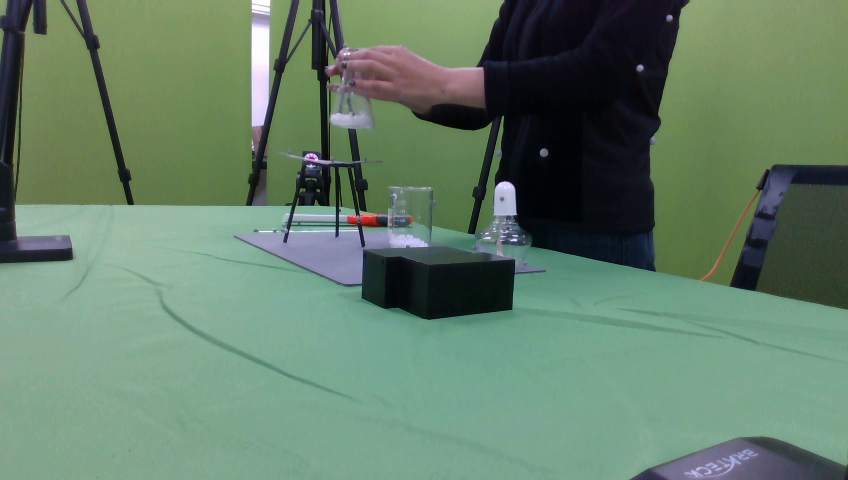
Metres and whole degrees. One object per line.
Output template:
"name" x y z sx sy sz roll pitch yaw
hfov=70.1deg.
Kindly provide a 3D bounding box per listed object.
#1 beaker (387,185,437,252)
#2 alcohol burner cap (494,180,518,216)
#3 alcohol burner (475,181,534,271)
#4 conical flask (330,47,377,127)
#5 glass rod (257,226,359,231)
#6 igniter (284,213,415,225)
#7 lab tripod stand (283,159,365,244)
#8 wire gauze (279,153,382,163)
"beaker" -0.023 -0.035 0.941 0.074 0.100 0.083 -3 8 -38
"alcohol burner cap" 0.108 -0.055 0.799 0.034 0.048 0.034 -2 3 0
"alcohol burner" 0.108 -0.020 0.804 0.078 0.119 0.078 3 5 0
"conical flask" -0.111 -0.245 0.973 0.075 0.122 0.075 4 7 0
"glass rod" -0.216 -0.022 1.151 0.201 0.008 0.008 -2 8 -28
"igniter" -0.154 -0.045 1.282 0.278 0.025 0.057 0 -3 -20
"lab tripod stand" -0.151 -0.063 0.983 0.148 0.131 0.148 4 7 0
"wire gauze" -0.149 -0.129 0.974 0.124 0.011 0.122 10 9 41
